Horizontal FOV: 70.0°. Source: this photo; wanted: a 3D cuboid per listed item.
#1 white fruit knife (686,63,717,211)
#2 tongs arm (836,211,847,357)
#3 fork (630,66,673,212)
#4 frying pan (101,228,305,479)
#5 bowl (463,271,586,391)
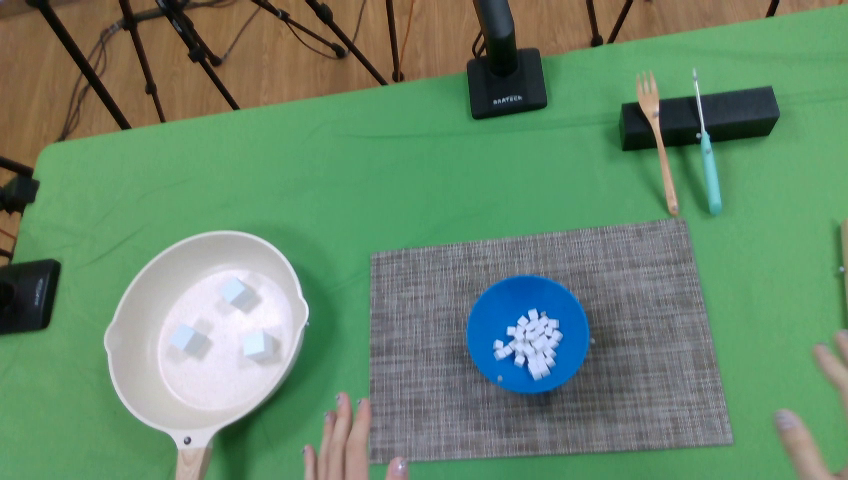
[{"bbox_3d":[0.377,-0.144,0.831,0.016,0.027,0.206,-8,83,15],"label":"white fruit knife"},{"bbox_3d":[0.520,0.145,0.715,0.028,0.028,0.385,3,69,11],"label":"tongs arm"},{"bbox_3d":[0.319,-0.140,0.843,0.028,0.018,0.207,-12,86,2],"label":"fork"},{"bbox_3d":[-0.303,0.215,0.817,0.306,0.104,0.483,-7,58,10],"label":"frying pan"},{"bbox_3d":[0.130,0.123,0.775,0.151,0.077,0.150,-4,67,10],"label":"bowl"}]
